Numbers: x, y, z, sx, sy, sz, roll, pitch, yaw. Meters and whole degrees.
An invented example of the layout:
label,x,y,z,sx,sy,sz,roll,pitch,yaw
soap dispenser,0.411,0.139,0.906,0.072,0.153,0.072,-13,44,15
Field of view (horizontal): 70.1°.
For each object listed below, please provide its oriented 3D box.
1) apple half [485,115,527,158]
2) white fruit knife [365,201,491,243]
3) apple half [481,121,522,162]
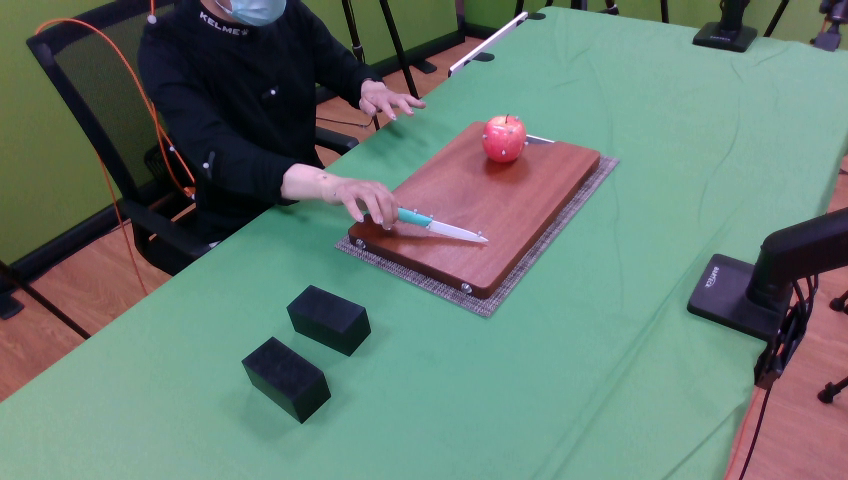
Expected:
label,x,y,z,sx,sy,sz,roll,pitch,yaw
apple half,0.149,-0.188,1.082,0.080,0.075,0.053,13,40,28
white fruit knife,0.005,-0.027,0.939,0.207,0.027,0.016,16,44,12
apple half,0.130,-0.165,1.056,0.081,0.081,0.033,16,42,25
